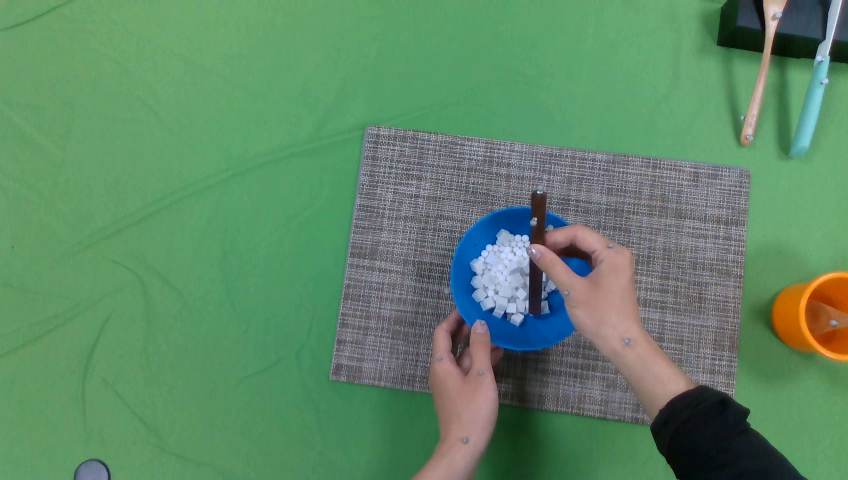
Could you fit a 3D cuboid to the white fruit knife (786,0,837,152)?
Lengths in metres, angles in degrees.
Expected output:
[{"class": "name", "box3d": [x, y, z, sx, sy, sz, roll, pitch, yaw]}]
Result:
[{"class": "white fruit knife", "box3d": [0.439, -0.202, 0.676, 0.016, 0.027, 0.208, 8, 100, 0]}]

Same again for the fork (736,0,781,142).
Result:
[{"class": "fork", "box3d": [0.378, -0.214, 0.680, 0.028, 0.018, 0.208, 5, 103, -1]}]

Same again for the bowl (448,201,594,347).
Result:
[{"class": "bowl", "box3d": [0.100, 0.039, 0.656, 0.151, 0.077, 0.151, 0, 83, 1]}]

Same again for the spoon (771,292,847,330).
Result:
[{"class": "spoon", "box3d": [0.460, 0.080, 0.613, 0.022, 0.192, 0.041, 15, 81, -42]}]

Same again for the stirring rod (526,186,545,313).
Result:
[{"class": "stirring rod", "box3d": [0.107, 0.015, 0.585, 0.014, 0.178, 0.006, 10, 49, 17]}]
